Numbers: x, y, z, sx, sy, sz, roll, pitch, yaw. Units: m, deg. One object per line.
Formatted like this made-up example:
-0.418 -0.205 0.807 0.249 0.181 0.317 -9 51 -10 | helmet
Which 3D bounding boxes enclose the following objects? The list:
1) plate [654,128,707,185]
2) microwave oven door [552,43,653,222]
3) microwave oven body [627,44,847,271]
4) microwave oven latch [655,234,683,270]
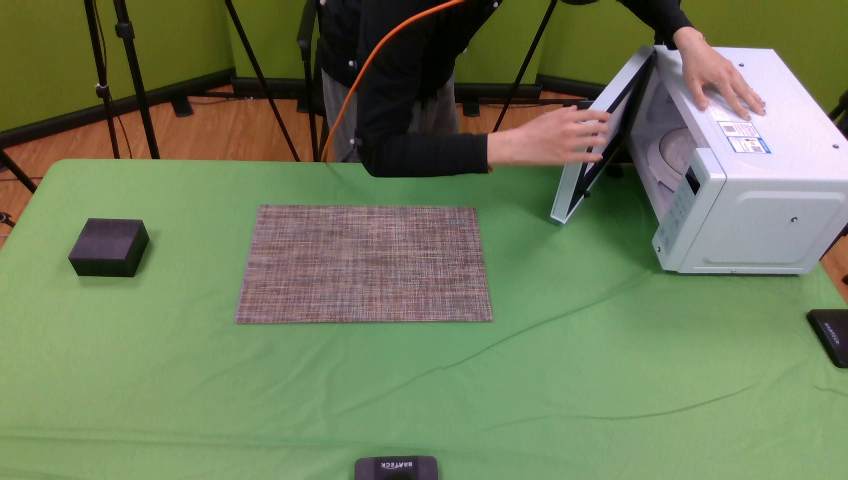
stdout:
0.600 -0.165 1.305 0.209 0.038 0.208 0 46 1 | plate
0.377 -0.230 1.264 0.039 0.245 0.355 27 51 20 | microwave oven door
0.620 -0.172 1.234 0.326 0.261 0.439 0 46 -3 | microwave oven body
0.474 0.021 1.175 0.030 0.029 0.078 3 46 0 | microwave oven latch
